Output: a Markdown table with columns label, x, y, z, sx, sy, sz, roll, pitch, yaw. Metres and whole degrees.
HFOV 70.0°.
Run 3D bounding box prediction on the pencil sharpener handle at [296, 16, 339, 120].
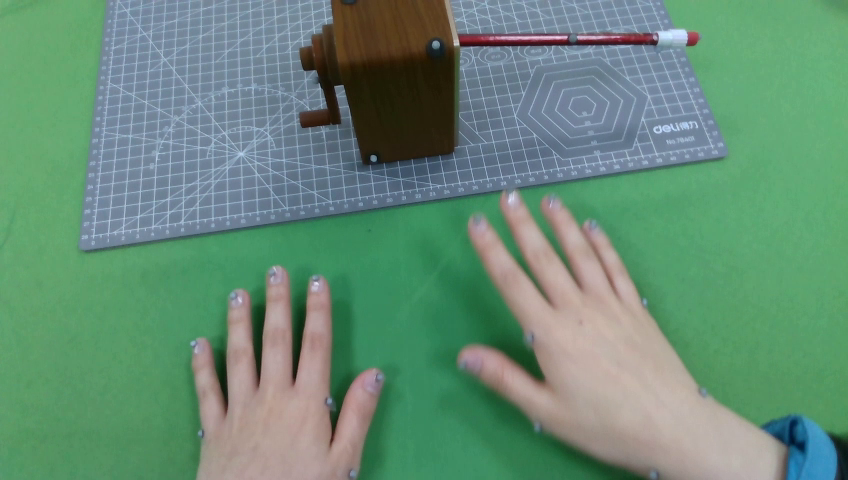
| label | x | y | z | sx | sy | sz | roll | pitch | yaw |
| --- | --- | --- | --- | --- | --- | --- | --- | --- | --- |
| pencil sharpener handle | -0.071 | -0.103 | 0.377 | 0.030 | 0.068 | 0.035 | -9 | 50 | -2 |

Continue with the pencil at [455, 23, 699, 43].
| label | x | y | z | sx | sy | sz | roll | pitch | yaw |
| --- | --- | --- | --- | --- | --- | --- | --- | --- | --- |
| pencil | 0.081 | -0.130 | 0.379 | 0.194 | 0.012 | 0.012 | -3 | 64 | -8 |

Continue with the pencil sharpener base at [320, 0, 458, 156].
| label | x | y | z | sx | sy | sz | roll | pitch | yaw |
| --- | --- | --- | --- | --- | --- | --- | --- | --- | --- |
| pencil sharpener base | -0.020 | -0.109 | 0.392 | 0.077 | 0.108 | 0.061 | -9 | 65 | -2 |
